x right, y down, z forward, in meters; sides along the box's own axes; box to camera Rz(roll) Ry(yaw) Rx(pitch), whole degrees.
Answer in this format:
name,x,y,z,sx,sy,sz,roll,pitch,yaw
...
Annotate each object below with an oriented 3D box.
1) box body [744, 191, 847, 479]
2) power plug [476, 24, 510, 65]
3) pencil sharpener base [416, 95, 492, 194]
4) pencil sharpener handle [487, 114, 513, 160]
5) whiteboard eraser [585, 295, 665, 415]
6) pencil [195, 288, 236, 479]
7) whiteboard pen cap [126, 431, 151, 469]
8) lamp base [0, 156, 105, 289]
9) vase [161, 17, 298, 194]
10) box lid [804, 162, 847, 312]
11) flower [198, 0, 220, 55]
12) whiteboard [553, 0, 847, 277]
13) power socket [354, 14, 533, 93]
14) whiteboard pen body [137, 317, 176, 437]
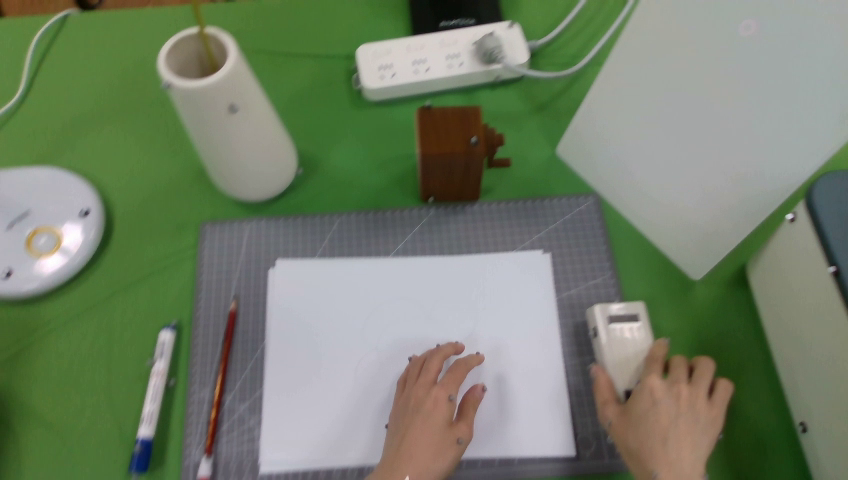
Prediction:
name,x,y,z,sx,sy,sz,roll,pitch,yaw
box body,0.466,0.124,0.520,0.254,0.161,0.361,-5,66,-2
power plug,0.081,-0.225,0.722,0.035,0.053,0.072,0,67,1
pencil sharpener base,0.031,-0.100,0.652,0.077,0.108,0.061,-2,65,-1
pencil sharpener handle,0.082,-0.107,0.642,0.030,0.068,0.035,-2,64,0
whiteboard eraser,0.194,0.111,0.591,0.056,0.042,0.112,-1,66,-7
pencil,-0.203,0.138,0.599,0.012,0.012,0.192,2,65,2
whiteboard pen cap,-0.266,0.195,0.565,0.018,0.018,0.033,1,60,1
lamp base,-0.445,-0.059,0.597,0.178,0.181,0.160,26,68,15
vase,-0.195,-0.129,0.616,0.098,0.201,0.097,-1,65,2
box lid,0.466,0.091,0.453,0.263,0.015,0.368,-5,66,-2
flower,-0.190,-0.180,0.549,0.038,0.365,0.043,-16,48,-14
whiteboard,0.307,-0.150,0.598,0.144,0.307,0.215,-27,67,-32
power socket,0.025,-0.232,0.751,0.227,0.033,0.071,-9,67,-4
whiteboard pen body,-0.263,0.143,0.592,0.017,0.017,0.139,0,62,1
